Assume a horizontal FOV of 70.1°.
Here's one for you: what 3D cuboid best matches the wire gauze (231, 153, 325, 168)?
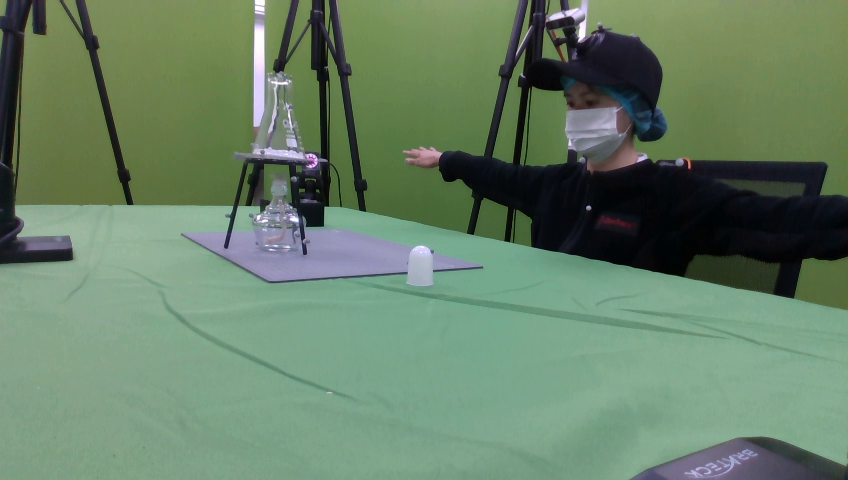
[{"bbox_3d":[-0.215,-0.117,0.882,0.125,0.011,0.121,3,7,-19],"label":"wire gauze"}]

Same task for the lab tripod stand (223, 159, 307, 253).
[{"bbox_3d":[-0.220,-0.053,0.896,0.148,0.131,0.148,1,6,0],"label":"lab tripod stand"}]

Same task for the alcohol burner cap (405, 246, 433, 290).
[{"bbox_3d":[-0.005,0.031,0.698,0.034,0.048,0.034,3,8,0],"label":"alcohol burner cap"}]

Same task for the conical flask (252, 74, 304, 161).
[{"bbox_3d":[-0.211,-0.177,0.879,0.075,0.122,0.075,3,6,0],"label":"conical flask"}]

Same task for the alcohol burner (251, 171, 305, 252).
[{"bbox_3d":[-0.214,-0.042,0.888,0.078,0.119,0.078,2,9,0],"label":"alcohol burner"}]
